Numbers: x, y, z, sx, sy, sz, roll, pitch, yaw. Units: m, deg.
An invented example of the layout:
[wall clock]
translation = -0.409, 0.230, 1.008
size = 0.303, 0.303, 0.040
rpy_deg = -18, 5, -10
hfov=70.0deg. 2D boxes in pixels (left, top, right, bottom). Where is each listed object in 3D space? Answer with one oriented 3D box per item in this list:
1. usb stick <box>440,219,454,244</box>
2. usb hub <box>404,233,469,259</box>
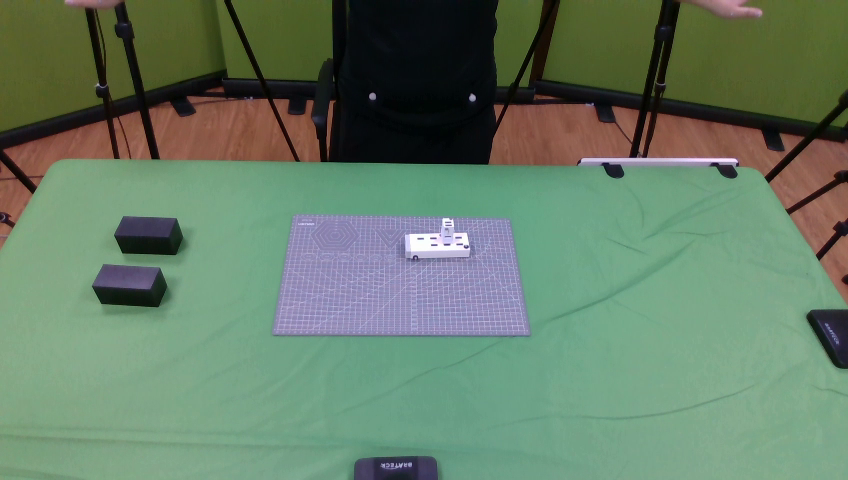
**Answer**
[usb stick]
translation = 0.043, -0.011, 1.166
size = 0.021, 0.059, 0.027
rpy_deg = -3, 48, -8
[usb hub]
translation = 0.024, 0.012, 1.181
size = 0.125, 0.025, 0.049
rpy_deg = -2, 47, -5
